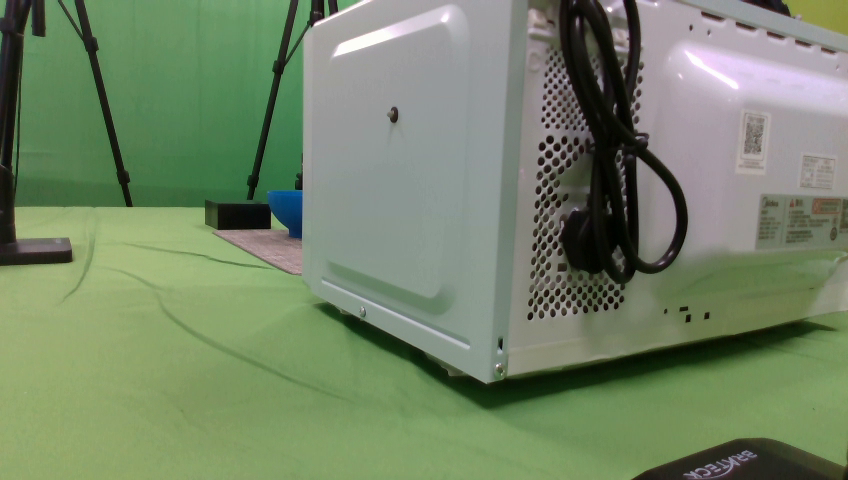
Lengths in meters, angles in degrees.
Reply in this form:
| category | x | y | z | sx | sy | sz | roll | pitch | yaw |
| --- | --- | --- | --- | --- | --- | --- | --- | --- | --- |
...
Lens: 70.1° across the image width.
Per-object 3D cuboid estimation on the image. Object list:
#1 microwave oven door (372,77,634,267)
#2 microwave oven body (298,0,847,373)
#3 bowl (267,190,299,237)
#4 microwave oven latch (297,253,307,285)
| category | x | y | z | sx | sy | sz | roll | pitch | yaw |
| --- | --- | --- | --- | --- | --- | --- | --- | --- | --- |
| microwave oven door | 0.096 | -0.099 | 0.838 | 0.355 | 0.243 | 0.039 | 5 | 8 | 20 |
| microwave oven body | 0.151 | -0.055 | 0.543 | 0.444 | 0.260 | 0.324 | -1 | 7 | -33 |
| bowl | -0.202 | -0.046 | 1.069 | 0.151 | 0.077 | 0.151 | 3 | 7 | 0 |
| microwave oven latch | -0.082 | 0.027 | 0.583 | 0.079 | 0.029 | 0.030 | -1 | 7 | -33 |
